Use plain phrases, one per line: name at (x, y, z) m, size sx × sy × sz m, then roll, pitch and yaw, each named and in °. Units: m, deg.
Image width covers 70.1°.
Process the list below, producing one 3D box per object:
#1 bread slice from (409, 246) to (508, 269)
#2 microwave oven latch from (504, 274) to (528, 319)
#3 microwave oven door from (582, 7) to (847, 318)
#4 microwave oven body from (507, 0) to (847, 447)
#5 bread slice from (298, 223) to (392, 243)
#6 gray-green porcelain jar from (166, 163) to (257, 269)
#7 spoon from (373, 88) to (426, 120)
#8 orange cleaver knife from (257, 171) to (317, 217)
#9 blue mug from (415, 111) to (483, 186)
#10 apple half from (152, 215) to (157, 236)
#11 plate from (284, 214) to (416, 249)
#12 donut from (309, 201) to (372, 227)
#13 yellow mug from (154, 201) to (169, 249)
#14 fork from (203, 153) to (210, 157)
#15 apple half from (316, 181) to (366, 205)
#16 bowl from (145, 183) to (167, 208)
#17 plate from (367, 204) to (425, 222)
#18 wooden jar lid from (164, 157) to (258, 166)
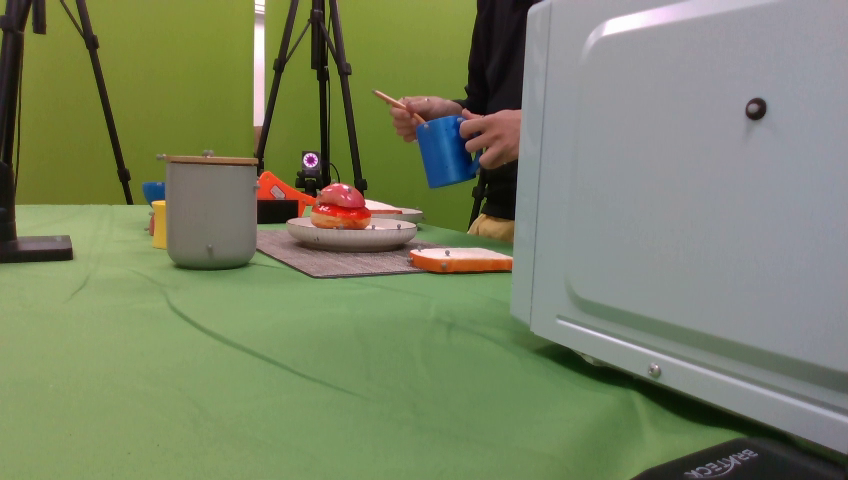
bread slice at (0.048, 0.022, 0.816) m, size 0.132 × 0.019 × 0.104 m, roll 0°, pitch 7°, yaw -24°
microwave oven latch at (0.100, 0.041, 0.471) m, size 0.079 × 0.029 × 0.030 m, roll -1°, pitch 7°, yaw -27°
microwave oven door at (0.295, -0.067, 0.569) m, size 0.358 × 0.243 × 0.039 m, roll -3°, pitch 8°, yaw -31°
microwave oven body at (0.331, -0.042, 0.425) m, size 0.444 × 0.260 × 0.324 m, roll -2°, pitch 8°, yaw -31°
bread slice at (-0.120, -0.013, 0.970) m, size 0.106 × 0.018 × 0.135 m, roll 9°, pitch 11°, yaw 41°
gray-green porcelain jar at (-0.263, -0.031, 0.754) m, size 0.106 × 0.126 × 0.106 m, roll 2°, pitch 7°, yaw 0°
spoon at (-0.014, -0.213, 1.033) m, size 0.193 × 0.021 × 0.042 m, roll 40°, pitch 24°, yaw 18°
orange cleaver knife at (-0.283, -0.087, 1.343) m, size 0.212 × 0.077 × 0.012 m, roll 24°, pitch -16°, yaw -41°
blue mug at (0.049, -0.153, 0.994) m, size 0.116 × 0.106 × 0.083 m, roll -13°, pitch 2°, yaw 42°
apple half at (-0.415, -0.034, 1.017) m, size 0.081 × 0.053 × 0.074 m, roll 1°, pitch 10°, yaw -8°
plate at (-0.116, -0.014, 0.967) m, size 0.208 × 0.039 × 0.207 m, roll 2°, pitch 8°, yaw 0°
donut at (-0.132, -0.042, 0.959) m, size 0.099 × 0.048 × 0.099 m, roll 2°, pitch 8°, yaw 0°
yellow mug at (-0.337, -0.022, 0.899) m, size 0.130 × 0.064 × 0.100 m, roll 8°, pitch 9°, yaw 34°
fork at (-0.480, -0.135, 1.411) m, size 0.028 × 0.018 × 0.207 m, roll 1°, pitch -34°, yaw 0°
apple half at (-0.128, -0.077, 0.954) m, size 0.081 × 0.033 × 0.081 m, roll 6°, pitch 13°, yaw -1°
bowl at (-0.459, -0.069, 1.175) m, size 0.151 × 0.077 × 0.151 m, roll 2°, pitch 7°, yaw 0°
plate at (-0.102, -0.053, 1.299) m, size 0.209 × 0.038 × 0.209 m, roll 2°, pitch 8°, yaw 0°
wooden jar lid at (-0.261, -0.093, 0.746) m, size 0.108 × 0.020 × 0.108 m, roll 1°, pitch 9°, yaw 0°
